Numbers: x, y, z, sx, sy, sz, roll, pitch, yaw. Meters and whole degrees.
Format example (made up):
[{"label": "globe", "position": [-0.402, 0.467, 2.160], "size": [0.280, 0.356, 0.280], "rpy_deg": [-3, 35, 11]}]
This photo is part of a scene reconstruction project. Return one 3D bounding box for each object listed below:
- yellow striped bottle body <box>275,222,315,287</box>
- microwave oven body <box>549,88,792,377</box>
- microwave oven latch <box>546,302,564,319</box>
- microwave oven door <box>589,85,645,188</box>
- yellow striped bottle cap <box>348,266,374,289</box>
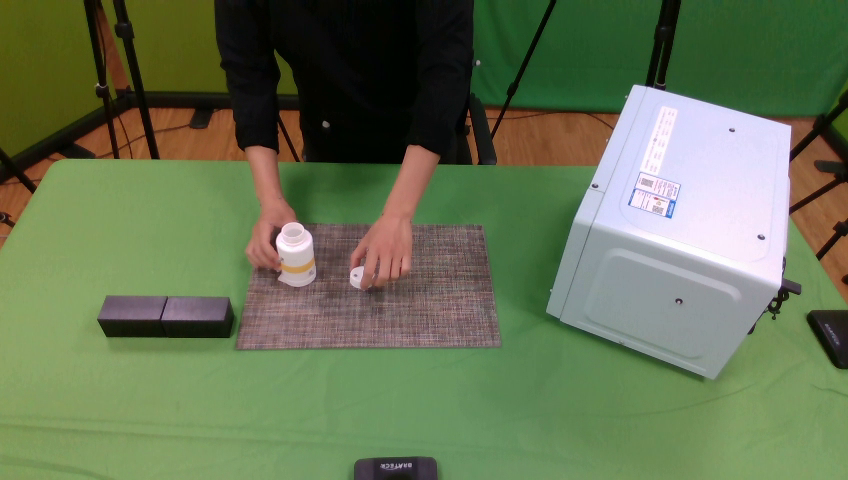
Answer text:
[{"label": "yellow striped bottle body", "position": [-0.230, 0.023, 1.082], "size": [0.063, 0.121, 0.062], "rpy_deg": [2, 46, -2]}, {"label": "microwave oven body", "position": [0.456, -0.028, 1.088], "size": [0.325, 0.261, 0.440], "rpy_deg": [20, 47, 16]}, {"label": "microwave oven latch", "position": [0.242, 0.102, 1.081], "size": [0.030, 0.029, 0.079], "rpy_deg": [22, 48, 17]}, {"label": "microwave oven door", "position": [0.341, -0.107, 1.148], "size": [0.039, 0.245, 0.354], "rpy_deg": [20, 48, 15]}, {"label": "yellow striped bottle cap", "position": [-0.111, 0.066, 1.069], "size": [0.044, 0.019, 0.044], "rpy_deg": [6, 36, -4]}]
